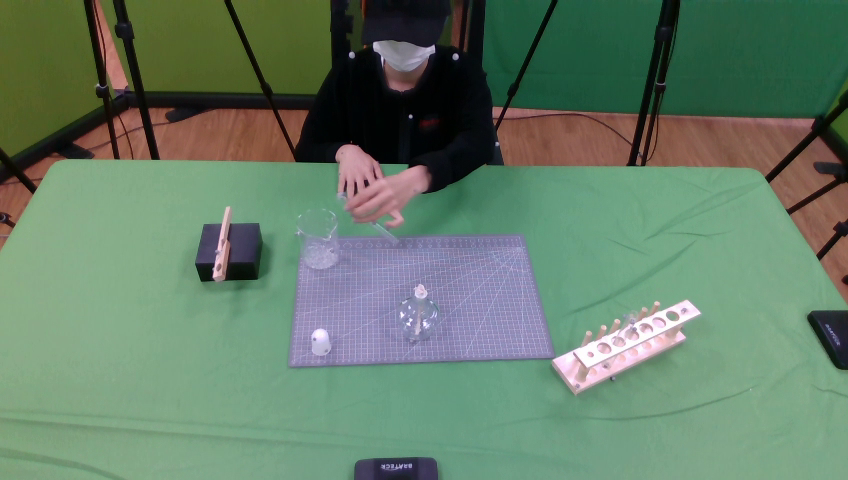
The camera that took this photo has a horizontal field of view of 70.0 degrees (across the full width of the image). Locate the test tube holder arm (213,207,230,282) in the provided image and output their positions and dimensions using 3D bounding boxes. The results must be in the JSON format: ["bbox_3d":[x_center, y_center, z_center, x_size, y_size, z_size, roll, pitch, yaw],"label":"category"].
[{"bbox_3d":[-0.366,0.004,1.101,0.013,0.015,0.177,-10,47,-1],"label":"test tube holder arm"}]

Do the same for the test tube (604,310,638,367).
[{"bbox_3d":[0.310,0.158,0.957,0.017,0.151,0.017,1,49,-1],"label":"test tube"}]

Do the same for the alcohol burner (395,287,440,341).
[{"bbox_3d":[-0.010,0.116,1.018,0.078,0.119,0.077,3,47,-3],"label":"alcohol burner"}]

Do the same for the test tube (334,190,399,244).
[{"bbox_3d":[-0.099,-0.038,1.068,0.151,0.017,0.017,40,37,-29],"label":"test tube"}]

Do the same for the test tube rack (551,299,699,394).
[{"bbox_3d":[0.339,0.166,1.021,0.242,0.085,0.066,-19,50,-21],"label":"test tube rack"}]

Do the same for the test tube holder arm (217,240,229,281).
[{"bbox_3d":[-0.355,0.035,1.070,0.010,0.015,0.087,-9,47,-1],"label":"test tube holder arm"}]

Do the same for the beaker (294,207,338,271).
[{"bbox_3d":[-0.196,0.003,1.123,0.074,0.101,0.083,-23,53,-24],"label":"beaker"}]

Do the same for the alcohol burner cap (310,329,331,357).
[{"bbox_3d":[-0.173,0.168,1.005,0.034,0.048,0.033,2,46,-2],"label":"alcohol burner cap"}]
